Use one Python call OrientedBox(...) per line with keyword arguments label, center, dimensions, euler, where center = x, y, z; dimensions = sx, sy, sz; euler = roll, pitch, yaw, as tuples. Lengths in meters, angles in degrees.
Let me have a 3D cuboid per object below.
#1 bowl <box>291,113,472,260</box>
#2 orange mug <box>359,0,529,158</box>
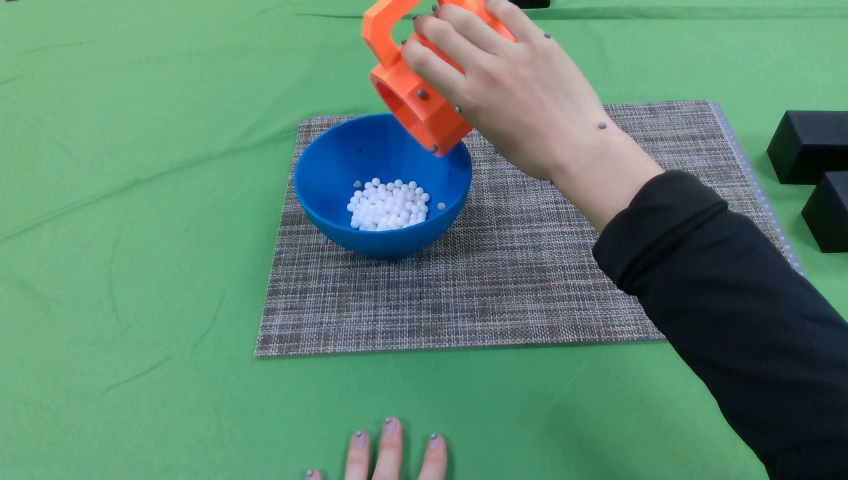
OrientedBox(label="bowl", center=(-0.033, -0.035, 0.533), dimensions=(0.151, 0.077, 0.150), euler=(-2, 49, 2))
OrientedBox(label="orange mug", center=(0.009, -0.138, 0.468), dimensions=(0.101, 0.127, 0.082), euler=(-46, 40, 0))
